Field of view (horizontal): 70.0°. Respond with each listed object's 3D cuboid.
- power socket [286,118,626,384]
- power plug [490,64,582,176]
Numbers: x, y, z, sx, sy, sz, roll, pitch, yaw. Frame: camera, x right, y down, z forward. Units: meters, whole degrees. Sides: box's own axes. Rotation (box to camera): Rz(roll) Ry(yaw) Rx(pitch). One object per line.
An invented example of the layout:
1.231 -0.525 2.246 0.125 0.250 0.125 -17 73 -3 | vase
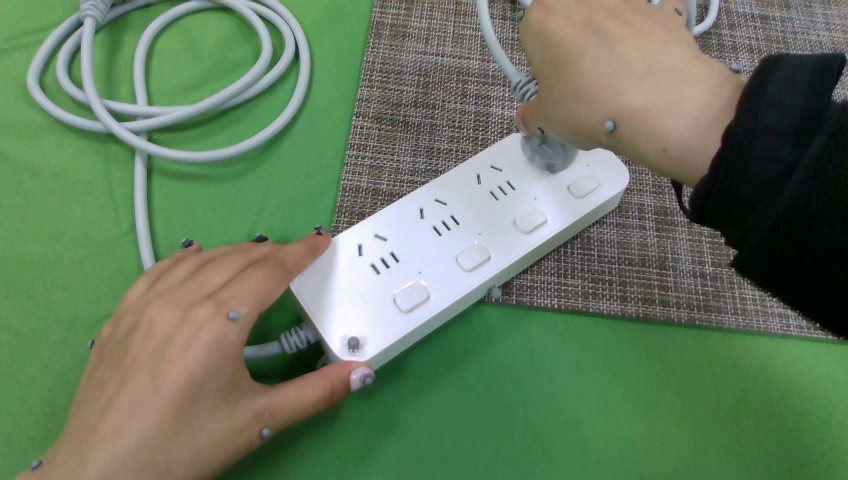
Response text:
0.024 -0.002 0.357 0.227 0.033 0.071 -32 68 -18 | power socket
0.068 -0.071 0.371 0.035 0.053 0.072 -21 66 -15 | power plug
